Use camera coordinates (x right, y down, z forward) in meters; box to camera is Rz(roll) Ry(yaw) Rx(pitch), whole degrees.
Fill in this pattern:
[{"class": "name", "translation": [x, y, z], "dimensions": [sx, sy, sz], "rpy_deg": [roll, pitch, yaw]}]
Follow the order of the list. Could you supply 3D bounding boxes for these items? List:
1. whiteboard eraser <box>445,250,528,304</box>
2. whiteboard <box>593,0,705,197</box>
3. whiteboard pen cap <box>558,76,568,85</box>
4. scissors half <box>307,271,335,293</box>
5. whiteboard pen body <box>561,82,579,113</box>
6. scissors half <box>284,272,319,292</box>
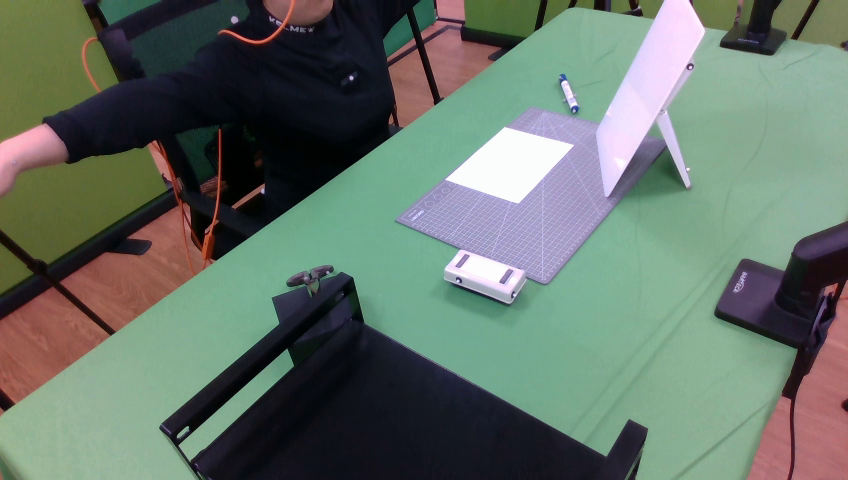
[{"class": "whiteboard eraser", "translation": [0.090, 0.056, 0.882], "dimensions": [0.112, 0.042, 0.056], "rpy_deg": [18, 44, 27]}, {"class": "whiteboard", "translation": [0.421, -0.227, 1.009], "dimensions": [0.144, 0.305, 0.216], "rpy_deg": [17, 41, -3]}, {"class": "whiteboard pen cap", "translation": [0.309, -0.350, 1.340], "dimensions": [0.018, 0.018, 0.033], "rpy_deg": [-6, 41, 2]}, {"class": "scissors half", "translation": [-0.152, 0.061, 0.872], "dimensions": [0.040, 0.013, 0.175], "rpy_deg": [-3, 5, -4]}, {"class": "whiteboard pen body", "translation": [0.310, -0.311, 1.297], "dimensions": [0.017, 0.017, 0.140], "rpy_deg": [-6, 41, 3]}, {"class": "scissors half", "translation": [-0.172, 0.063, 0.868], "dimensions": [0.040, 0.013, 0.174], "rpy_deg": [-10, 7, -22]}]
